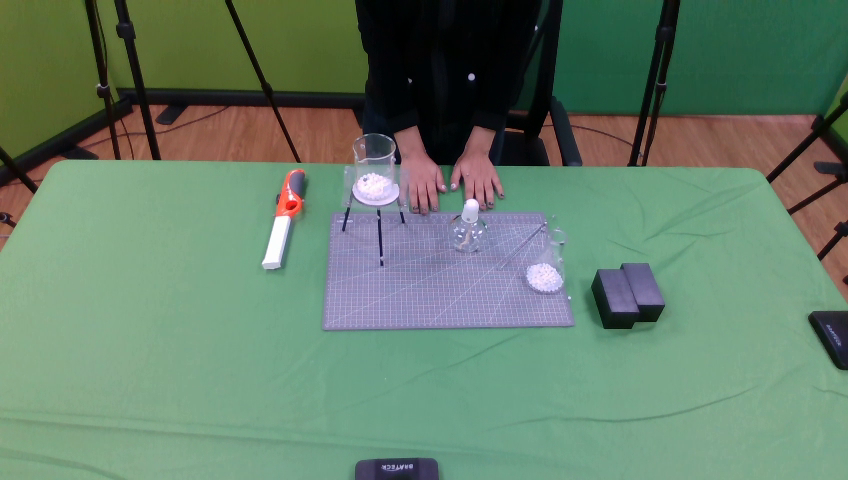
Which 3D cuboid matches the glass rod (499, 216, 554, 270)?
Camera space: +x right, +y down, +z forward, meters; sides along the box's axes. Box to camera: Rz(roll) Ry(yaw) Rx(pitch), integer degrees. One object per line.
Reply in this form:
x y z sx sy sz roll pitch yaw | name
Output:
0.208 0.002 1.220 0.008 0.008 0.199 32 52 25 | glass rod

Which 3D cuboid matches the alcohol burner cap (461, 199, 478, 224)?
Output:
0.087 -0.056 1.145 0.034 0.048 0.033 2 52 -2 | alcohol burner cap

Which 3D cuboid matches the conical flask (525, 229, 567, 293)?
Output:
0.232 0.036 1.110 0.075 0.122 0.075 2 46 -2 | conical flask

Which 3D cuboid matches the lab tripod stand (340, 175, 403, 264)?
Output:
-0.093 -0.050 1.160 0.148 0.132 0.147 2 44 -2 | lab tripod stand

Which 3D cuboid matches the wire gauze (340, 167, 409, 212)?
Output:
-0.091 -0.095 1.112 0.125 0.011 0.120 1 43 -2 | wire gauze

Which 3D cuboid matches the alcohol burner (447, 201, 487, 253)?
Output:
0.085 -0.033 1.172 0.078 0.119 0.077 4 45 -3 | alcohol burner

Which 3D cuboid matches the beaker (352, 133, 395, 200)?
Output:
-0.091 -0.126 1.075 0.074 0.101 0.084 26 48 21 | beaker

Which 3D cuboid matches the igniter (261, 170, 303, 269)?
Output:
-0.284 -0.050 1.222 0.057 0.025 0.275 -4 45 6 | igniter
